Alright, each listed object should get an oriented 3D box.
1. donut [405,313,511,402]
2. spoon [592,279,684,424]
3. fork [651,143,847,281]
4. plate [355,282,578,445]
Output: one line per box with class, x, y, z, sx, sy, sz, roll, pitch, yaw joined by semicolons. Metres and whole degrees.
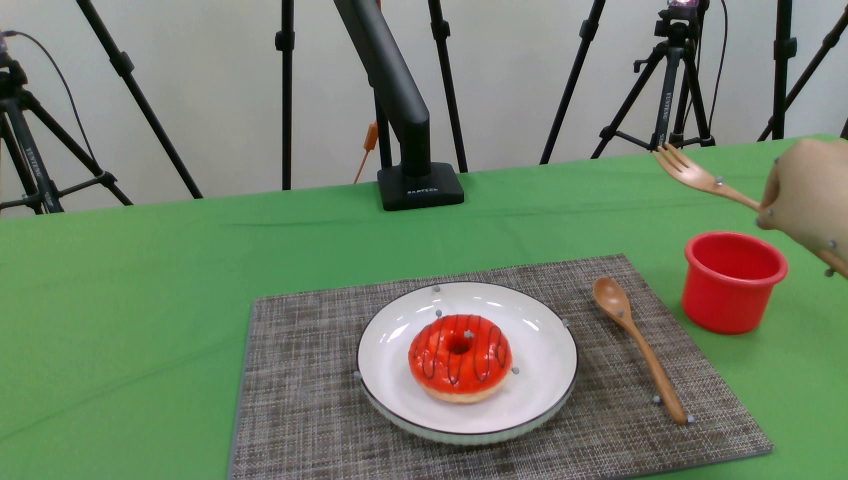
donut;0.032;0.110;0.568;0.099;0.048;0.098;-2;35;2
spoon;0.211;0.103;0.603;0.042;0.022;0.192;10;30;-14
fork;0.275;-0.022;0.503;0.028;0.019;0.205;-31;52;-19
plate;0.040;0.115;0.579;0.209;0.038;0.207;-1;32;1
